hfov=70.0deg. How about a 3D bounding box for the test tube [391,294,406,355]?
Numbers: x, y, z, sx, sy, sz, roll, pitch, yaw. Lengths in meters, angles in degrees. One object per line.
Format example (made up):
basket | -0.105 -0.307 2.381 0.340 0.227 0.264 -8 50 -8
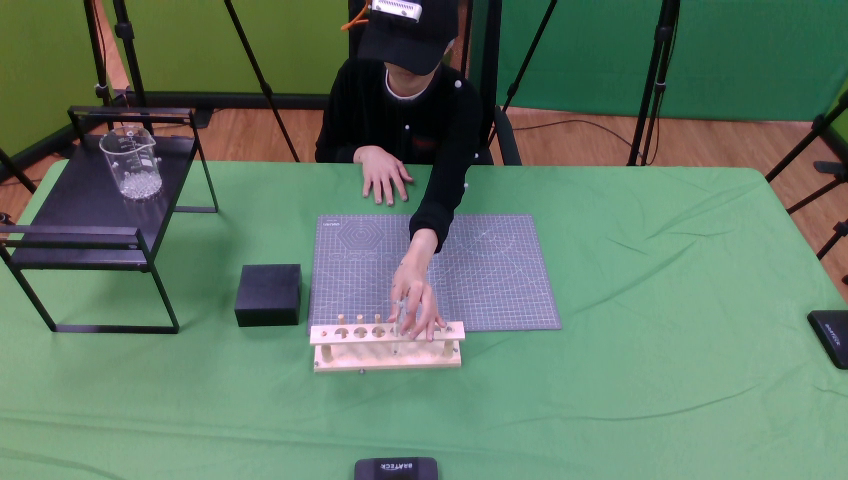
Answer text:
test tube | -0.040 0.133 0.934 0.017 0.151 0.017 3 48 -4

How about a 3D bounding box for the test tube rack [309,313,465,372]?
test tube rack | -0.059 0.161 0.990 0.242 0.085 0.066 -1 46 -5

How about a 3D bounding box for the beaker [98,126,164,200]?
beaker | -0.464 -0.122 0.977 0.084 0.101 0.073 0 46 -5
